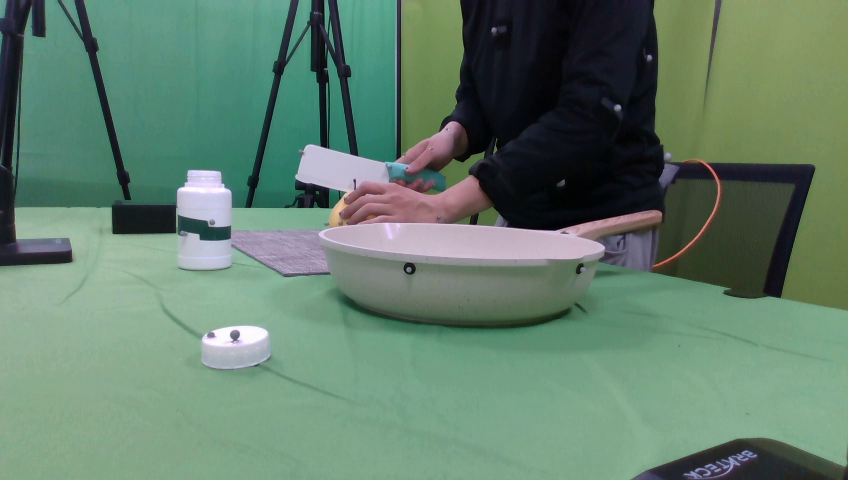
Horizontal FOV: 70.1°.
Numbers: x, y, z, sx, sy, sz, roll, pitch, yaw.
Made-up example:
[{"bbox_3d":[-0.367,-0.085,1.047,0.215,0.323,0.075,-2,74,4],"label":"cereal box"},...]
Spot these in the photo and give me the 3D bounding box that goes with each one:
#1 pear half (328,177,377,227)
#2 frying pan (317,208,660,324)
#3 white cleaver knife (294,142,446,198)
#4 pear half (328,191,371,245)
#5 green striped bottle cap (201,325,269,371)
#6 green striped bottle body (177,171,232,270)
[{"bbox_3d":[-0.107,-0.042,0.943,0.077,0.110,0.055,-6,11,-29],"label":"pear half"},{"bbox_3d":[0.121,0.006,0.691,0.490,0.102,0.305,-12,15,-33],"label":"frying pan"},{"bbox_3d":[-0.079,-0.103,0.981,0.288,0.066,0.021,7,9,-38],"label":"white cleaver knife"},{"bbox_3d":[-0.124,-0.036,0.976,0.071,0.088,0.031,-5,9,-29],"label":"pear half"},{"bbox_3d":[-0.129,0.073,0.415,0.044,0.020,0.044,3,8,0],"label":"green striped bottle cap"},{"bbox_3d":[-0.273,-0.026,0.752,0.063,0.119,0.063,2,7,0],"label":"green striped bottle body"}]
